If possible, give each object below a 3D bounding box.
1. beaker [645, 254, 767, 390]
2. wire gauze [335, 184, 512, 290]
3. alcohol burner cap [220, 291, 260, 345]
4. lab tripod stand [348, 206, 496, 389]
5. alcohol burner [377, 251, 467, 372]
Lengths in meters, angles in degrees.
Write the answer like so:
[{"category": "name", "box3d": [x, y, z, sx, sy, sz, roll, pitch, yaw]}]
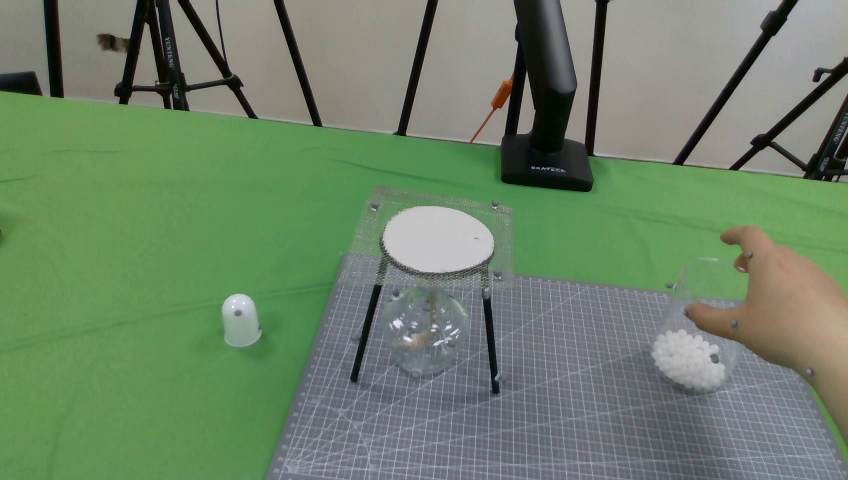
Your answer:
[{"category": "beaker", "box3d": [0.240, 0.076, 0.527, 0.074, 0.101, 0.083, 16, 39, 14]}, {"category": "wire gauze", "box3d": [0.005, -0.004, 0.461, 0.121, 0.011, 0.124, 7, 36, 3]}, {"category": "alcohol burner cap", "box3d": [-0.165, 0.067, 0.539, 0.034, 0.048, 0.033, 3, 39, -2]}, {"category": "lab tripod stand", "box3d": [0.002, 0.047, 0.506, 0.148, 0.132, 0.147, 2, 37, -1]}, {"category": "alcohol burner", "box3d": [0.000, 0.055, 0.511, 0.078, 0.120, 0.077, 5, 39, -3]}]
